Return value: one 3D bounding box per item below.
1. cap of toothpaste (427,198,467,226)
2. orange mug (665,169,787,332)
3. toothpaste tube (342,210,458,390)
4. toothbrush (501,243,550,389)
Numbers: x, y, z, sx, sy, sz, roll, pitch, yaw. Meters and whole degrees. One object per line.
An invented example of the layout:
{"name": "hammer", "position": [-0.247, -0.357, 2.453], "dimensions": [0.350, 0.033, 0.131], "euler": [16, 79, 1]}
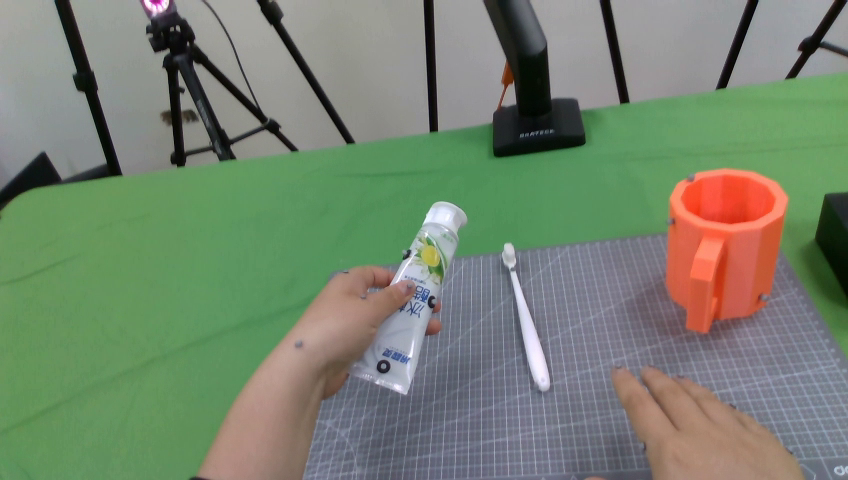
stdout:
{"name": "cap of toothpaste", "position": [0.020, -0.022, 0.535], "dimensions": [0.037, 0.038, 0.011], "euler": [7, 56, 26]}
{"name": "orange mug", "position": [0.243, 0.012, 0.504], "dimensions": [0.083, 0.102, 0.126], "euler": [13, 40, 32]}
{"name": "toothpaste tube", "position": [-0.010, 0.039, 0.497], "dimensions": [0.055, 0.035, 0.164], "euler": [16, 59, 12]}
{"name": "toothbrush", "position": [0.092, 0.062, 0.559], "dimensions": [0.014, 0.017, 0.180], "euler": [0, 38, -5]}
